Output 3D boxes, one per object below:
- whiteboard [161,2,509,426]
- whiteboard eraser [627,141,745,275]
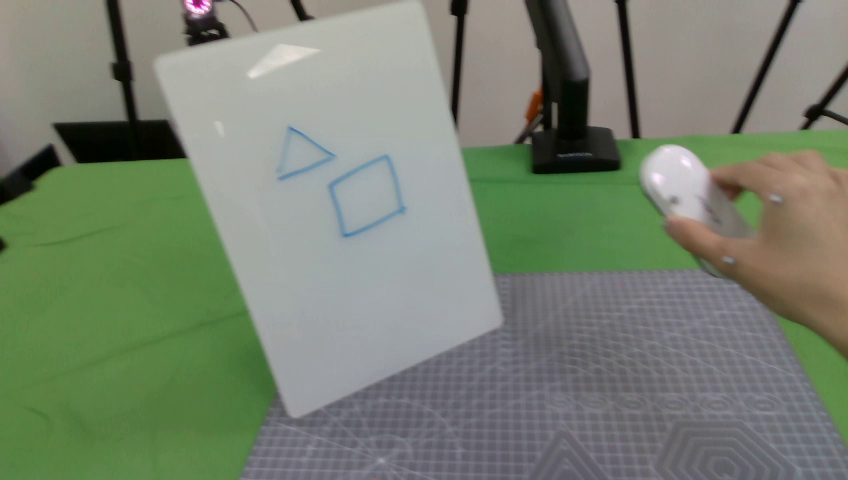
[{"bbox_3d":[-0.078,-0.031,0.566,0.217,0.307,0.143,-21,16,-18],"label":"whiteboard"},{"bbox_3d":[0.174,-0.021,0.403,0.041,0.101,0.019,-38,0,-21],"label":"whiteboard eraser"}]
